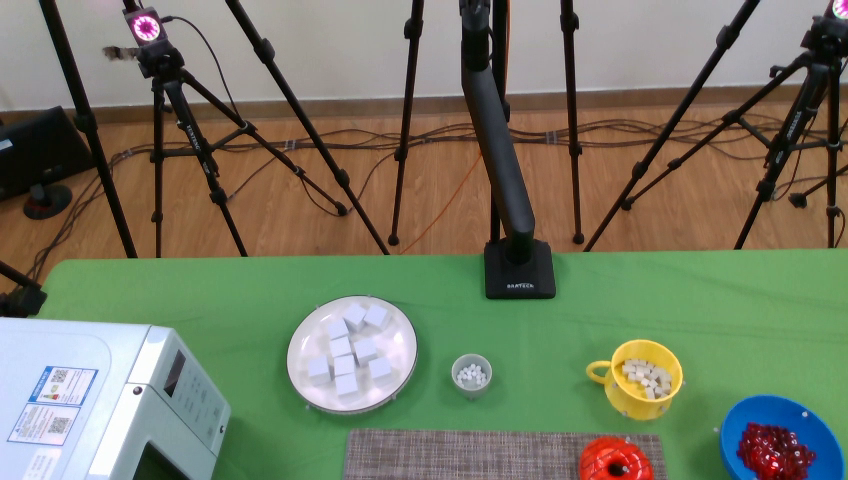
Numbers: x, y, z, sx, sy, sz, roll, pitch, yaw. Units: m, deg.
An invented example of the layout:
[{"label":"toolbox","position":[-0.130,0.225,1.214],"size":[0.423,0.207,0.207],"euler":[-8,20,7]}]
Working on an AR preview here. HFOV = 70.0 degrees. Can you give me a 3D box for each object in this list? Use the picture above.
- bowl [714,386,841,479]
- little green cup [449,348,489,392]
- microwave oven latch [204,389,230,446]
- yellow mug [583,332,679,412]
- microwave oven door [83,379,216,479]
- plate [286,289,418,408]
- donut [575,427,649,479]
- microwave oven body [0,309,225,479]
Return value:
[{"label":"bowl","position":[0.460,0.282,0.814],"size":[0.151,0.077,0.150],"euler":[-2,52,3]},{"label":"little green cup","position":[0.070,0.202,0.931],"size":[0.061,0.039,0.061],"euler":[-2,51,3]},{"label":"microwave oven latch","position":[-0.309,0.259,0.888],"size":[0.030,0.030,0.078],"euler":[4,53,6]},{"label":"yellow mug","position":[0.303,0.194,0.903],"size":[0.130,0.064,0.099],"euler":[8,53,11]},{"label":"microwave oven door","position":[-0.338,0.367,0.675],"size":[0.039,0.246,0.352],"euler":[2,52,6]},{"label":"plate","position":[-0.113,0.173,0.967],"size":[0.207,0.039,0.205],"euler":[-2,51,3]},{"label":"donut","position":[0.255,0.304,0.828],"size":[0.099,0.049,0.098],"euler":[-3,52,5]},{"label":"microwave oven body","position":[-0.478,0.333,0.719],"size":[0.326,0.262,0.437],"euler":[2,53,5]}]
